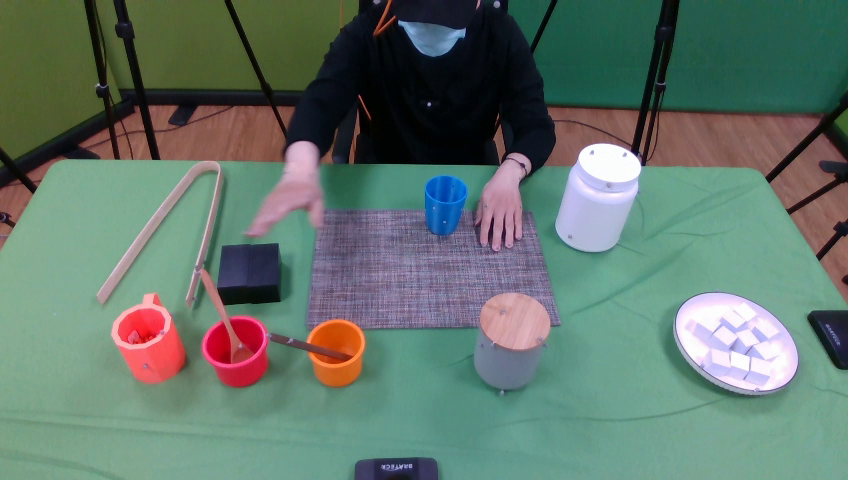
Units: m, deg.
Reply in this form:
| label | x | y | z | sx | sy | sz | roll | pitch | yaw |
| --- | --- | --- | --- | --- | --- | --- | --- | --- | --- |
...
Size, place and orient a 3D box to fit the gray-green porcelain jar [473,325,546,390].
| label | x | y | z | sx | sy | sz | roll | pitch | yaw |
| --- | --- | --- | --- | --- | --- | --- | --- | --- | --- |
| gray-green porcelain jar | 0.135 | 0.170 | 0.969 | 0.106 | 0.127 | 0.105 | 2 | 46 | -2 |

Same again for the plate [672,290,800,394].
| label | x | y | z | sx | sy | sz | roll | pitch | yaw |
| --- | --- | --- | --- | --- | --- | --- | --- | --- | --- |
| plate | 0.533 | 0.178 | 1.050 | 0.208 | 0.039 | 0.206 | 2 | 46 | -2 |

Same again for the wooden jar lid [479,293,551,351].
| label | x | y | z | sx | sy | sz | roll | pitch | yaw |
| --- | --- | --- | --- | --- | --- | --- | --- | --- | --- |
| wooden jar lid | 0.138 | 0.127 | 0.925 | 0.108 | 0.021 | 0.107 | 1 | 47 | -1 |

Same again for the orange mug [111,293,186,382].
| label | x | y | z | sx | sy | sz | roll | pitch | yaw |
| --- | --- | --- | --- | --- | --- | --- | --- | --- | --- |
| orange mug | -0.435 | 0.149 | 0.969 | 0.083 | 0.101 | 0.125 | -5 | 51 | -8 |

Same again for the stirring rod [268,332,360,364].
| label | x | y | z | sx | sy | sz | roll | pitch | yaw |
| --- | --- | --- | --- | --- | --- | --- | --- | --- | --- |
| stirring rod | -0.167 | 0.169 | 0.942 | 0.177 | 0.006 | 0.014 | 26 | 27 | -41 |

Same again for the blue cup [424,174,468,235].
| label | x | y | z | sx | sy | sz | roll | pitch | yaw |
| --- | --- | --- | --- | --- | --- | --- | --- | --- | --- |
| blue cup | 0.039 | -0.065 | 1.201 | 0.093 | 0.101 | 0.092 | 3 | 47 | -3 |

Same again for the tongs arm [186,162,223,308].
| label | x | y | z | sx | sy | sz | roll | pitch | yaw |
| --- | --- | --- | --- | --- | --- | --- | --- | --- | --- |
| tongs arm | -0.436 | -0.025 | 1.181 | 0.051 | 0.027 | 0.382 | -3 | 45 | 0 |

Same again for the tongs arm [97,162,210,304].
| label | x | y | z | sx | sy | sz | roll | pitch | yaw |
| --- | --- | --- | --- | --- | --- | --- | --- | --- | --- |
| tongs arm | -0.519 | -0.028 | 1.183 | 0.028 | 0.028 | 0.385 | 5 | 45 | 12 |

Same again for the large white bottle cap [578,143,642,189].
| label | x | y | z | sx | sy | sz | roll | pitch | yaw |
| --- | --- | --- | --- | --- | --- | --- | --- | --- | --- |
| large white bottle cap | 0.344 | -0.139 | 1.123 | 0.115 | 0.018 | 0.114 | 2 | 46 | -2 |

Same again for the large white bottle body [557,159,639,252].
| label | x | y | z | sx | sy | sz | roll | pitch | yaw |
| --- | --- | --- | --- | --- | --- | --- | --- | --- | --- |
| large white bottle body | 0.340 | -0.081 | 1.185 | 0.131 | 0.185 | 0.130 | 2 | 46 | -1 |

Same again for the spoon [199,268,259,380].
| label | x | y | z | sx | sy | sz | roll | pitch | yaw |
| --- | --- | --- | --- | --- | --- | --- | --- | --- | --- |
| spoon | -0.312 | 0.132 | 0.962 | 0.041 | 0.021 | 0.194 | -24 | 96 | -22 |
